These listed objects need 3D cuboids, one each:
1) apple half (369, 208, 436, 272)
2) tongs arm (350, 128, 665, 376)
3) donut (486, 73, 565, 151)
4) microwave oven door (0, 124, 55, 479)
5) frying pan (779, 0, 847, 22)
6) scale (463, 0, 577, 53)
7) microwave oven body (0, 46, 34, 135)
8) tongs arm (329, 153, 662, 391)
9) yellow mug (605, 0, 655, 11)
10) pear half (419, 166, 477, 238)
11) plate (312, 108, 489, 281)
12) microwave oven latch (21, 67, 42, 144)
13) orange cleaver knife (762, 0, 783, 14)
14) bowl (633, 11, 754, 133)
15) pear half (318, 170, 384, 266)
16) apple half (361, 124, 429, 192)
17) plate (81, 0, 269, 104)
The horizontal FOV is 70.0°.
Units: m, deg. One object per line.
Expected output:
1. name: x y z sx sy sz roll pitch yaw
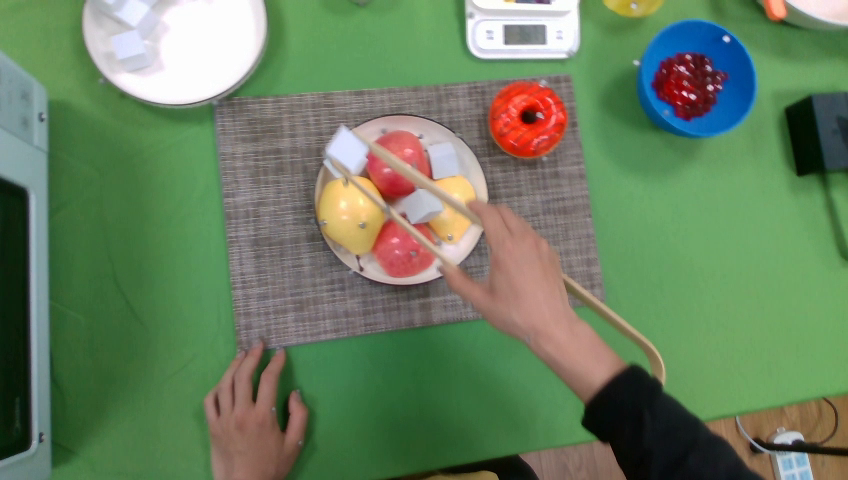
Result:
1. apple half: -0.025 -0.001 0.710 0.081 0.033 0.081 2 77 -6
2. tongs arm: 0.081 0.008 0.601 0.387 0.028 0.028 36 74 1
3. donut: 0.126 -0.159 0.754 0.099 0.048 0.099 1 84 -5
4. microwave oven door: -0.411 0.057 0.545 0.039 0.244 0.354 -4 84 -7
5. frying pan: 0.599 -0.346 0.810 0.307 0.103 0.486 -34 81 -9
6. scale: 0.122 -0.343 0.785 0.149 0.031 0.200 -2 84 -7
7. microwave oven body: -0.560 0.026 0.535 0.327 0.260 0.440 -4 85 -8
8. tongs arm: 0.067 0.026 0.596 0.384 0.026 0.050 41 78 2
9. yellow mug: 0.269 -0.373 0.790 0.100 0.064 0.131 -40 89 -9
10. pear half: 0.029 -0.047 0.725 0.070 0.031 0.087 -5 81 5
11. plate: -0.027 -0.053 0.725 0.209 0.038 0.208 1 83 -8
12. microwave oven latch: -0.440 -0.148 0.667 0.030 0.029 0.079 -2 84 -8
13. orange cleaver knife: 0.431 -0.393 0.775 0.077 0.012 0.211 -17 87 -11
14. bowl: 0.327 -0.202 0.772 0.152 0.077 0.151 1 84 -7
15. pear half: -0.079 -0.025 0.693 0.076 0.056 0.109 -13 89 -17
16. apple half: -0.034 -0.098 0.712 0.075 0.053 0.081 -19 89 -6
17. plate: -0.289 -0.258 0.719 0.208 0.039 0.207 1 83 -7
